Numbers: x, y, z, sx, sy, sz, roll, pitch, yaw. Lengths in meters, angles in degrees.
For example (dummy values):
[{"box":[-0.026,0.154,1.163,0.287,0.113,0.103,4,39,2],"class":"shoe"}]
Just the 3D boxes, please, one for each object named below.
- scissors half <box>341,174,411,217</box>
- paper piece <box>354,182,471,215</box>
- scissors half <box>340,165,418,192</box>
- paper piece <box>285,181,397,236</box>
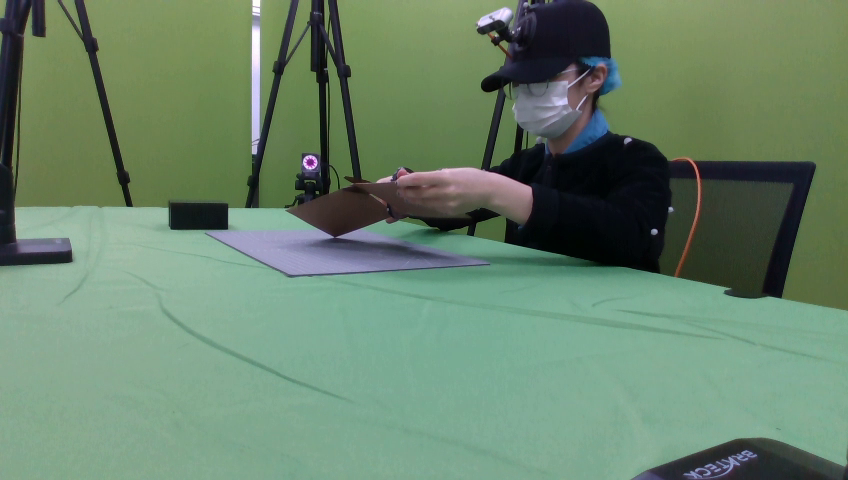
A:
[{"box":[-0.075,-0.074,0.975,0.012,0.040,0.176,17,-7,37],"class":"scissors half"},{"box":[-0.018,-0.064,0.921,0.137,0.008,0.137,20,-9,-43],"class":"paper piece"},{"box":[-0.070,-0.096,0.973,0.013,0.040,0.176,11,19,38],"class":"scissors half"},{"box":[-0.135,-0.050,1.004,0.135,0.004,0.136,-20,-26,23],"class":"paper piece"}]
